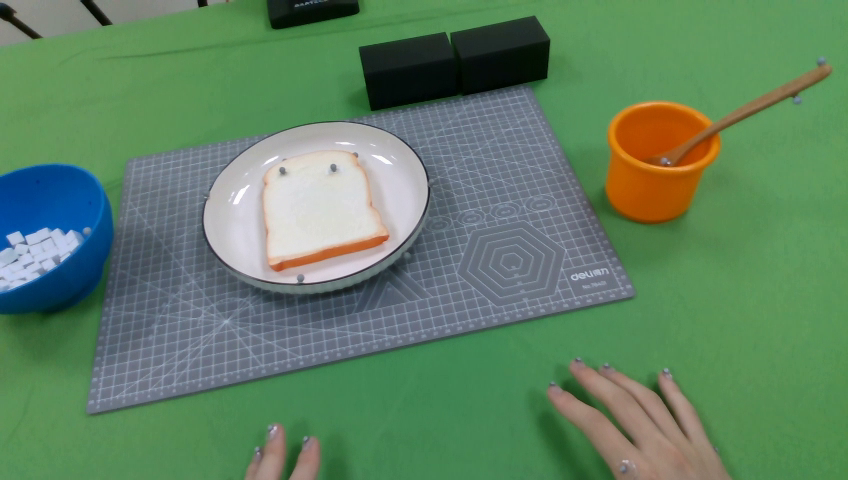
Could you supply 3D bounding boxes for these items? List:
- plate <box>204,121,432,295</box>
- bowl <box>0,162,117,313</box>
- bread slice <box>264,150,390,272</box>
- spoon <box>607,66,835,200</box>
[{"bbox_3d":[-0.096,-0.031,0.566,0.209,0.038,0.207,-3,51,4],"label":"plate"},{"bbox_3d":[-0.337,0.011,0.533,0.151,0.077,0.150,-3,51,4],"label":"bowl"},{"bbox_3d":[-0.100,-0.032,0.571,0.107,0.018,0.133,-17,53,-8],"label":"bread slice"},{"bbox_3d":[0.241,-0.086,0.511,0.022,0.194,0.041,28,46,-30],"label":"spoon"}]
